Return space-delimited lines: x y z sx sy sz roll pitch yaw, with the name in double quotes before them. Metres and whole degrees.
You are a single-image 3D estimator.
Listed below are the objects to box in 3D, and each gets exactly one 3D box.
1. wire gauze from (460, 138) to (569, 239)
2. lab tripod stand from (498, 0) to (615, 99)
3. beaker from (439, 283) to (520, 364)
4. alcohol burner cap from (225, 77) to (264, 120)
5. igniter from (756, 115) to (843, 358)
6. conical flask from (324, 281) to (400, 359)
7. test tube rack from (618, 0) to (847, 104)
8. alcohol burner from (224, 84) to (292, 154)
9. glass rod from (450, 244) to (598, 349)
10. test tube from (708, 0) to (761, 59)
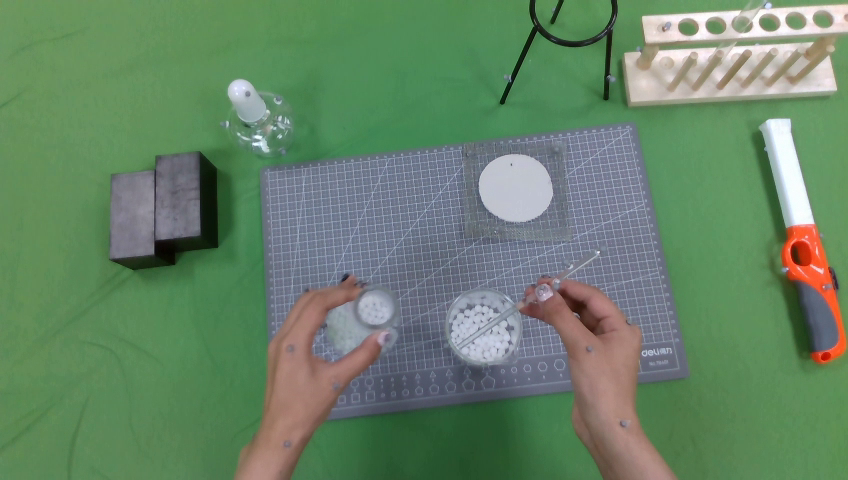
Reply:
"wire gauze" 0.105 -0.062 0.703 0.125 0.011 0.121 1 76 0
"lab tripod stand" 0.150 -0.223 0.680 0.148 0.132 0.147 0 78 2
"beaker" 0.058 0.092 0.620 0.074 0.101 0.083 -42 78 -7
"alcohol burner cap" -0.194 -0.155 0.648 0.034 0.048 0.033 -1 69 2
"igniter" 0.415 -0.009 0.672 0.057 0.025 0.275 -3 76 -8
"conical flask" -0.052 0.068 0.553 0.075 0.122 0.075 3 75 -10
"test tube rack" 0.359 -0.213 0.694 0.242 0.085 0.066 -3 75 2
"alcohol burner" -0.192 -0.143 0.682 0.078 0.119 0.077 -1 77 4
"glass rod" 0.080 0.055 0.537 0.008 0.200 0.008 21 48 -25
"test tube" 0.339 -0.239 0.650 0.017 0.151 0.017 -1 75 5
